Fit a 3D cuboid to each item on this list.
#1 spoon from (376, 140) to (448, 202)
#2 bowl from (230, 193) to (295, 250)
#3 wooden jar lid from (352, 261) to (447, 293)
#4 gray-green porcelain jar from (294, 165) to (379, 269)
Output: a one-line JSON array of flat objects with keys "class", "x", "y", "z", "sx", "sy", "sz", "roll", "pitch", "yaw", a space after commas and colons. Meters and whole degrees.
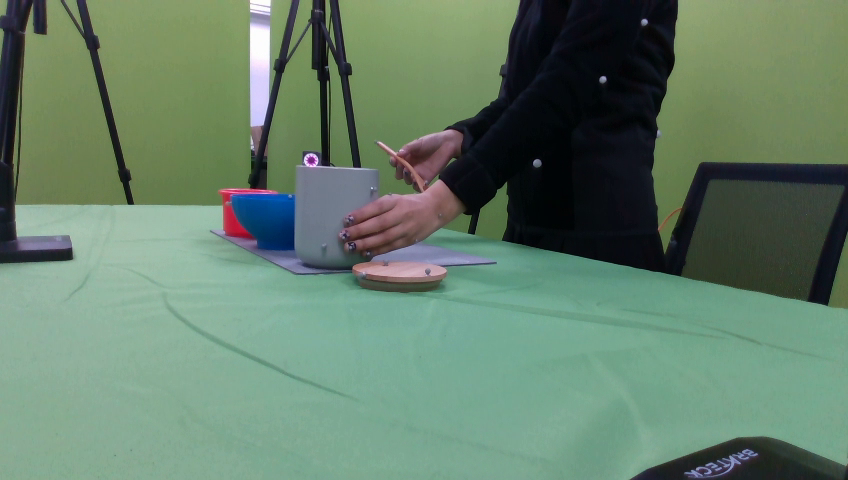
[{"class": "spoon", "x": -0.025, "y": -0.127, "z": 1.098, "sx": 0.042, "sy": 0.021, "sz": 0.193, "roll": -6, "pitch": 47, "yaw": -52}, {"class": "bowl", "x": -0.214, "y": -0.028, "z": 0.912, "sx": 0.151, "sy": 0.077, "sz": 0.151, "roll": 2, "pitch": 8, "yaw": 0}, {"class": "wooden jar lid", "x": -0.028, "y": 0.041, "z": 0.686, "sx": 0.108, "sy": 0.020, "sz": 0.108, "roll": 3, "pitch": 8, "yaw": 0}, {"class": "gray-green porcelain jar", "x": -0.112, "y": -0.030, "z": 0.774, "sx": 0.106, "sy": 0.126, "sz": 0.106, "roll": 2, "pitch": 7, "yaw": 0}]
